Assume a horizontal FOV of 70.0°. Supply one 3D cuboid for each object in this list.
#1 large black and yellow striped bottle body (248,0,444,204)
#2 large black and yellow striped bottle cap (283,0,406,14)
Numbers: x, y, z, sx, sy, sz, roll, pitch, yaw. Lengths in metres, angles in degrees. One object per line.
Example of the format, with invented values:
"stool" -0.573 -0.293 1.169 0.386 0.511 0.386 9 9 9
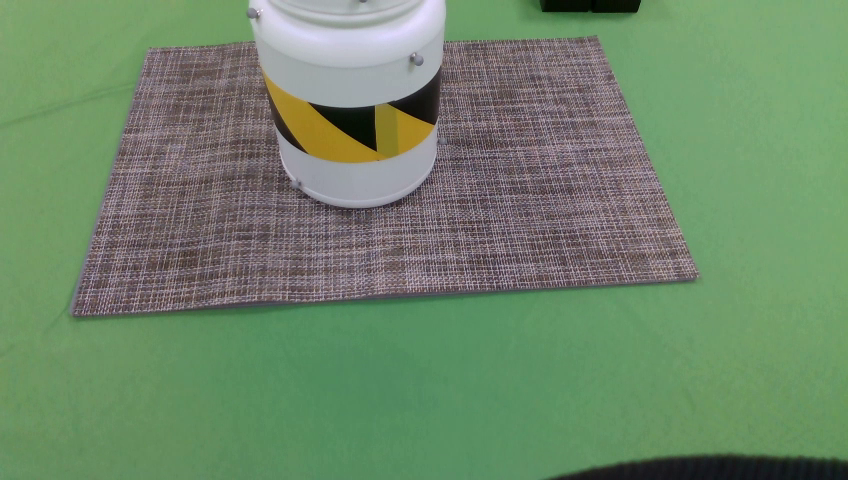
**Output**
"large black and yellow striped bottle body" -0.053 -0.130 0.440 0.131 0.185 0.129 2 53 -2
"large black and yellow striped bottle cap" -0.049 -0.181 0.373 0.115 0.019 0.114 1 55 -1
